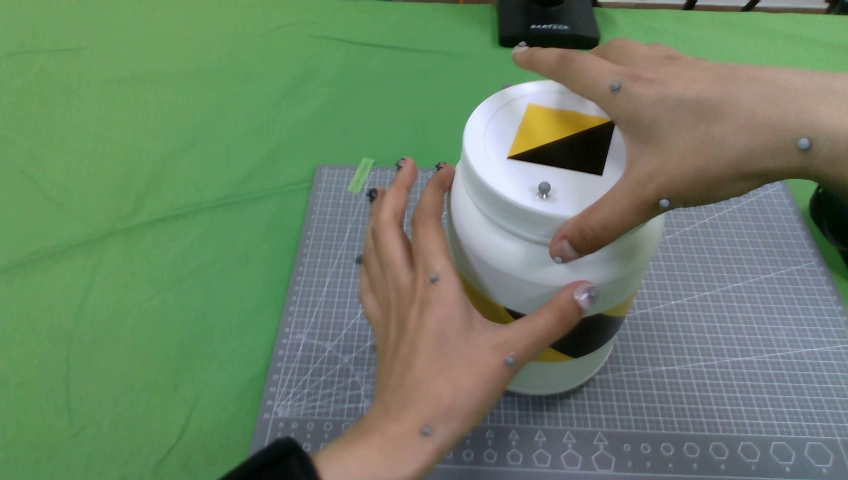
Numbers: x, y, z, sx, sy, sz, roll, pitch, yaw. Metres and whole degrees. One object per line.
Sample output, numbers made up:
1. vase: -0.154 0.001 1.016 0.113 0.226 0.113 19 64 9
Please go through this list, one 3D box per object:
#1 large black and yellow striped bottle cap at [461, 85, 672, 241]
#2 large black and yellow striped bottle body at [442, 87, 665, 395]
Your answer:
1. large black and yellow striped bottle cap: 0.078 -0.047 0.338 0.115 0.019 0.114 1 48 -1
2. large black and yellow striped bottle body: 0.079 0.006 0.403 0.131 0.185 0.129 0 50 0
